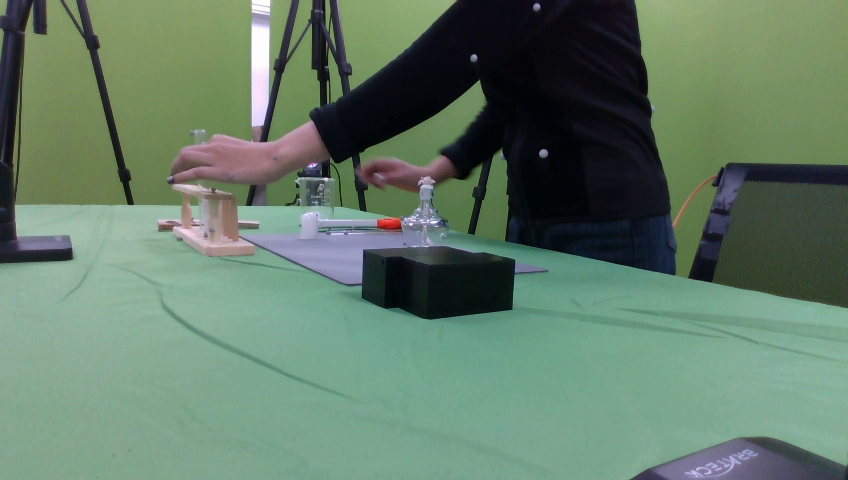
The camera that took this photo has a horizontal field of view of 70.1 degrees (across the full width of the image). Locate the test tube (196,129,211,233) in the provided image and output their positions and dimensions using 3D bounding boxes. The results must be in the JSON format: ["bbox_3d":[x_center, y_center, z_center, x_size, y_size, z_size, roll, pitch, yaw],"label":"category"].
[{"bbox_3d":[-0.320,-0.086,0.879,0.017,0.150,0.017,-1,5,0],"label":"test tube"}]

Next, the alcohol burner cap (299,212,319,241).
[{"bbox_3d":[-0.195,-0.024,1.025,0.034,0.048,0.034,3,7,0],"label":"alcohol burner cap"}]

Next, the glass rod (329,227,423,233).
[{"bbox_3d":[-0.087,-0.019,1.148,0.201,0.008,0.008,-2,8,-32],"label":"glass rod"}]

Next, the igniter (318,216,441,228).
[{"bbox_3d":[-0.090,-0.035,1.222,0.278,0.025,0.057,-2,-2,-32],"label":"igniter"}]

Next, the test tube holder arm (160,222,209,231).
[{"bbox_3d":[-0.423,-0.024,1.076,0.088,0.015,0.010,-3,45,-38],"label":"test tube holder arm"}]

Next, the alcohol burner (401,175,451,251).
[{"bbox_3d":[0.003,-0.042,0.947,0.078,0.119,0.078,1,9,0],"label":"alcohol burner"}]

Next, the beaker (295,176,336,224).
[{"bbox_3d":[-0.224,-0.080,1.247,0.084,0.100,0.073,-1,8,-18],"label":"beaker"}]

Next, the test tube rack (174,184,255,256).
[{"bbox_3d":[-0.327,-0.036,0.928,0.067,0.085,0.241,-2,9,-32],"label":"test tube rack"}]

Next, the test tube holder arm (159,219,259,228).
[{"bbox_3d":[-0.390,-0.030,1.107,0.179,0.015,0.013,-4,45,-39],"label":"test tube holder arm"}]
